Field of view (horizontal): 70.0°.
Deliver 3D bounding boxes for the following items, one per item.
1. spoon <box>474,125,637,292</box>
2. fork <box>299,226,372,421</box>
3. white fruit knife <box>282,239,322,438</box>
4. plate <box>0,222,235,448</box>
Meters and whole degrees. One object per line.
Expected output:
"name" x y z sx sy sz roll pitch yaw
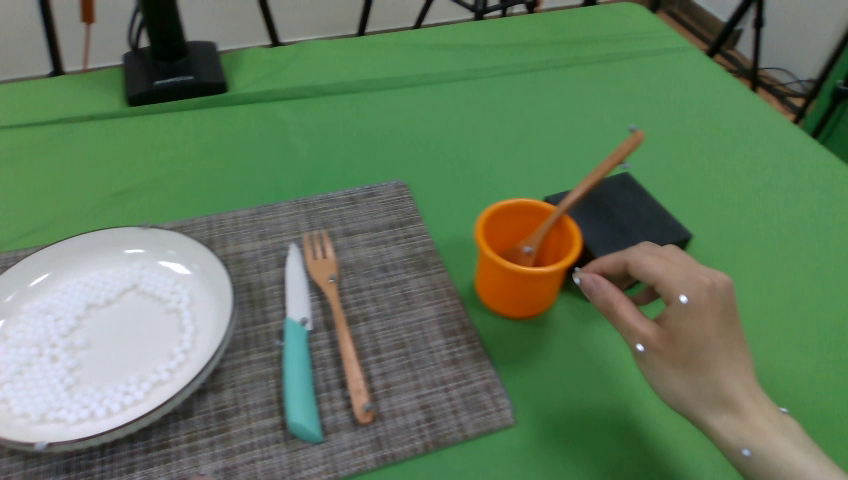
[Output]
"spoon" 0.115 -0.026 0.533 0.022 0.194 0.041 24 23 -49
"fork" -0.076 0.062 0.518 0.028 0.019 0.205 -4 44 -24
"white fruit knife" -0.109 0.071 0.512 0.027 0.016 0.205 18 36 -31
"plate" -0.255 0.070 0.484 0.209 0.038 0.207 2 46 -2
